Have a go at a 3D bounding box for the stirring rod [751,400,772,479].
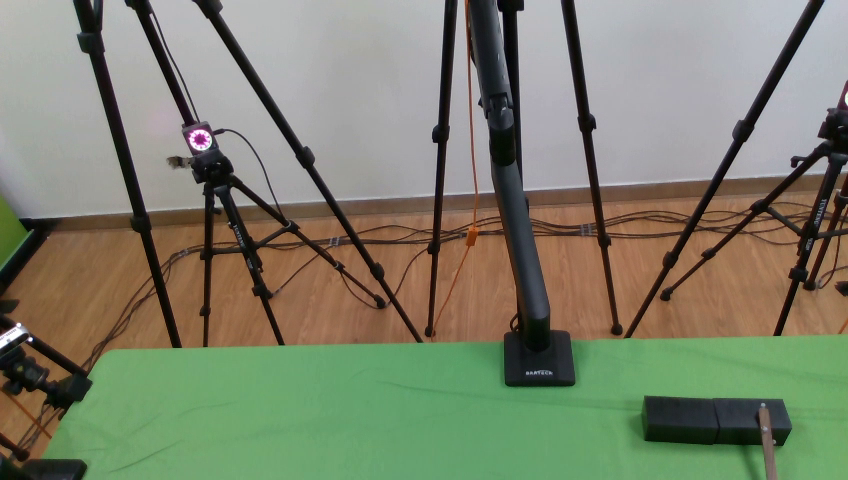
[{"bbox_3d":[0.482,0.316,0.858,0.014,0.006,0.175,3,63,8],"label":"stirring rod"}]
